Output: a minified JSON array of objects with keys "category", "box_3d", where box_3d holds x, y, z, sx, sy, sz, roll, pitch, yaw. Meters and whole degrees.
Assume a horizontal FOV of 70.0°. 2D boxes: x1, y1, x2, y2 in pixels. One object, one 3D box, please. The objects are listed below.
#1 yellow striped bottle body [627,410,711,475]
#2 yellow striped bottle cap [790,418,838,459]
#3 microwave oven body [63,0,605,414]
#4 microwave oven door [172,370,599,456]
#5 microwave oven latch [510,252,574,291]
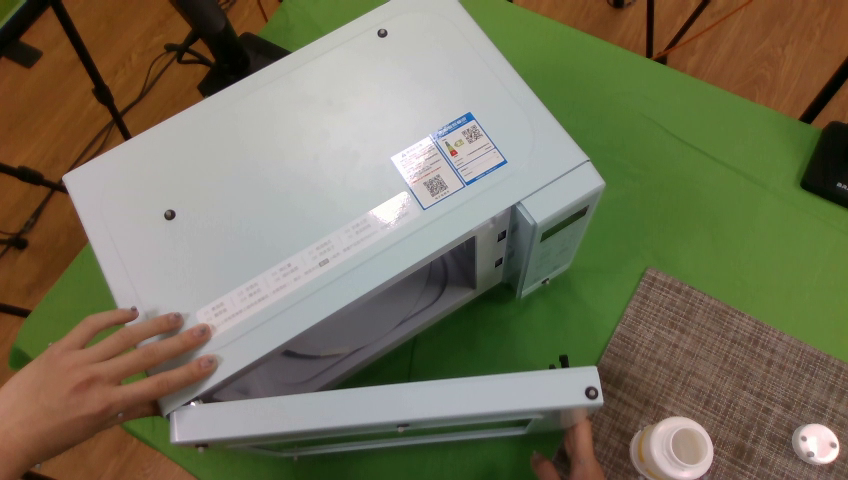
[{"category":"yellow striped bottle body","box_3d":[0.260,0.216,0.642,0.063,0.121,0.062,-2,68,4]},{"category":"yellow striped bottle cap","box_3d":[0.439,0.223,0.683,0.044,0.019,0.044,-2,68,5]},{"category":"microwave oven body","box_3d":[-0.089,-0.029,0.689,0.442,0.262,0.323,-31,70,-7]},{"category":"microwave oven door","box_3d":[-0.025,0.175,0.601,0.356,0.245,0.039,-6,67,2]},{"category":"microwave oven latch","box_3d":[0.146,0.031,0.753,0.079,0.030,0.030,-29,70,-6]}]
